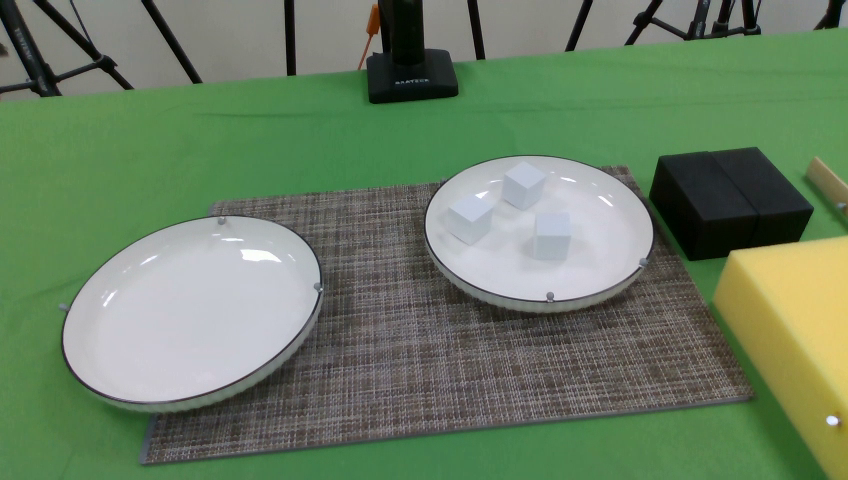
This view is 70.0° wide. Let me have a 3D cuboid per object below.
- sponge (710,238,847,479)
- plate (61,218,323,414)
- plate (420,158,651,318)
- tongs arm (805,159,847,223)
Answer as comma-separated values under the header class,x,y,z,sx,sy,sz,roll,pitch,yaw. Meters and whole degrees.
class,x,y,z,sx,sy,sz,roll,pitch,yaw
sponge,0.317,0.093,0.435,0.118,0.061,0.204,-8,43,-5
plate,-0.187,0.060,0.512,0.209,0.038,0.207,-1,42,2
plate,0.100,-0.002,0.565,0.207,0.039,0.205,-1,42,2
tongs arm,0.434,0.046,0.496,0.028,0.028,0.383,-5,40,-6
